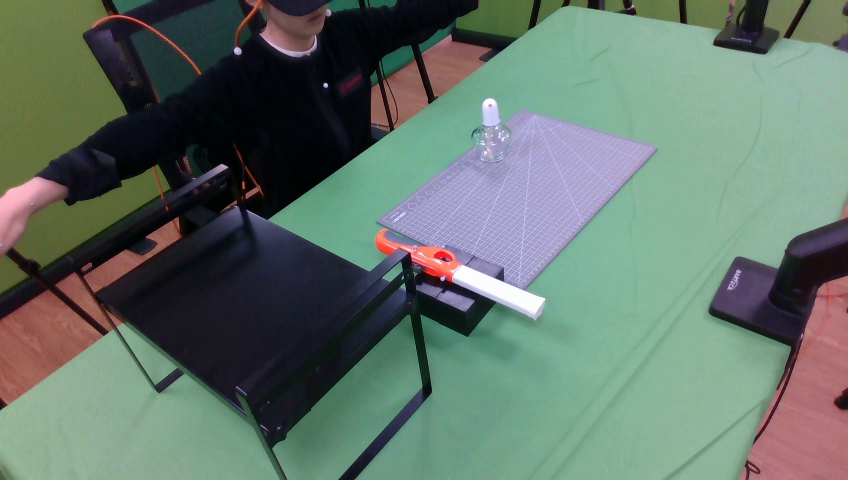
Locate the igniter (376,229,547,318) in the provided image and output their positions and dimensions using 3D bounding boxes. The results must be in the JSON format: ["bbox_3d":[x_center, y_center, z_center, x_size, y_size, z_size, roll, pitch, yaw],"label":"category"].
[{"bbox_3d":[0.040,0.041,0.845,0.274,0.025,0.057,22,46,27],"label":"igniter"}]

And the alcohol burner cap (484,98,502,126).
[{"bbox_3d":[0.124,-0.236,1.101,0.034,0.048,0.033,-7,38,6],"label":"alcohol burner cap"}]

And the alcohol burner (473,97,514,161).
[{"bbox_3d":[0.127,-0.208,1.123,0.078,0.119,0.077,-5,39,5],"label":"alcohol burner"}]
